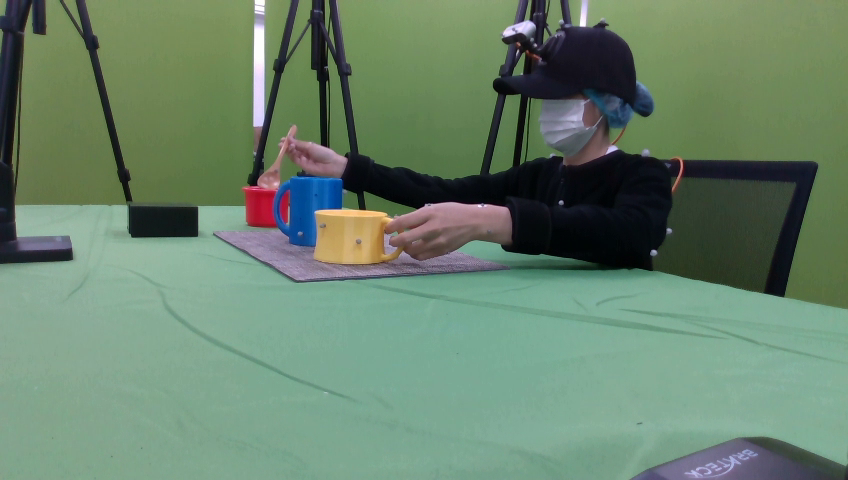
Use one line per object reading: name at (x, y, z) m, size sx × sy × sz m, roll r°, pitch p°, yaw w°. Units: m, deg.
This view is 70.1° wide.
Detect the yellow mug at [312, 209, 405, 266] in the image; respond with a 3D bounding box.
yellow mug at (-0.086, -0.004, 0.817) m, size 0.130 × 0.064 × 0.100 m, roll 6°, pitch 8°, yaw 18°

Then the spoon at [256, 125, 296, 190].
spoon at (-0.293, -0.171, 1.234) m, size 0.042 × 0.193 × 0.021 m, roll 19°, pitch -35°, yaw -6°

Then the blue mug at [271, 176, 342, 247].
blue mug at (-0.190, -0.047, 0.963) m, size 0.116 × 0.106 × 0.082 m, roll 4°, pitch 7°, yaw 13°
